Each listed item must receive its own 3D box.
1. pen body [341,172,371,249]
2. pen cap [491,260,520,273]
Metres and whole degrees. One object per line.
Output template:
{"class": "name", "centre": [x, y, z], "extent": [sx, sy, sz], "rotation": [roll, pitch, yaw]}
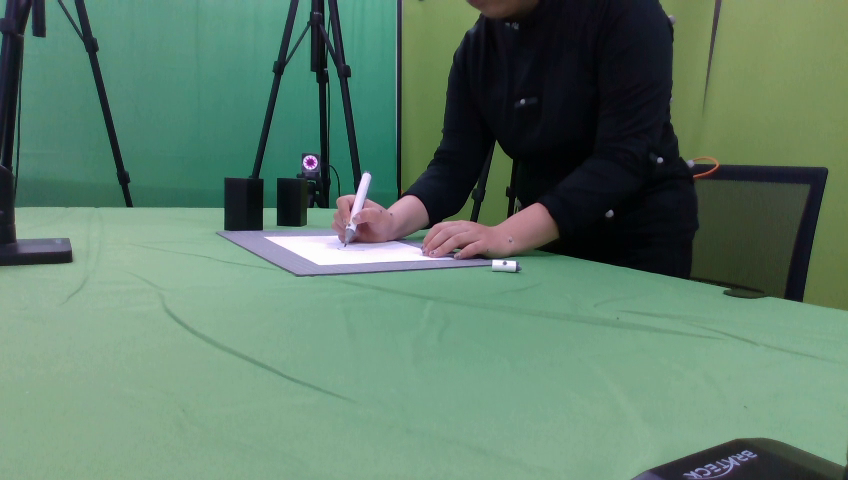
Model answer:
{"class": "pen body", "centre": [-0.114, -0.049, 0.997], "extent": [0.017, 0.144, 0.017], "rotation": [13, -25, 6]}
{"class": "pen cap", "centre": [0.110, 0.036, 0.813], "extent": [0.038, 0.017, 0.017], "rotation": [3, 7, 7]}
